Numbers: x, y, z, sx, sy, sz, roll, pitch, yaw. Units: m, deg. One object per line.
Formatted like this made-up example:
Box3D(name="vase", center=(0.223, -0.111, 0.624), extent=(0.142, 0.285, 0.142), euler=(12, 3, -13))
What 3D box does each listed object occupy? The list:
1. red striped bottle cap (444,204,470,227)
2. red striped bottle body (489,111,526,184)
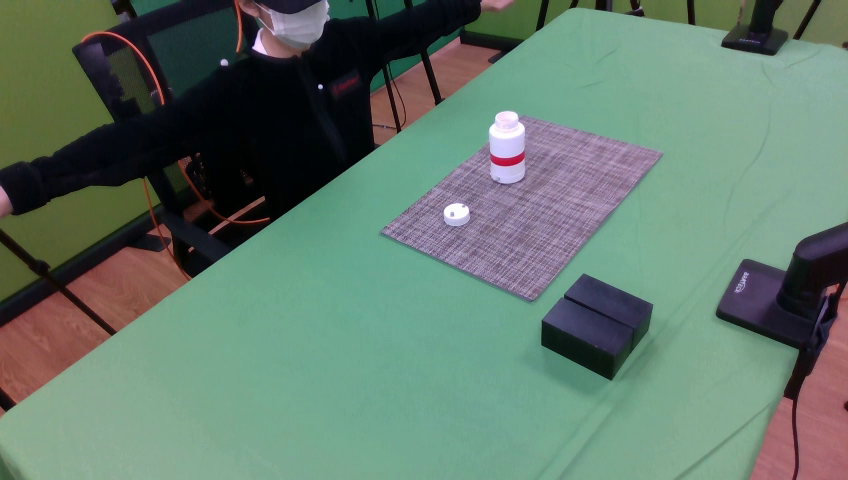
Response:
Box3D(name="red striped bottle cap", center=(0.055, -0.042, 1.016), extent=(0.044, 0.018, 0.044), euler=(-2, 42, 2))
Box3D(name="red striped bottle body", center=(0.147, -0.164, 1.064), extent=(0.063, 0.120, 0.062), euler=(-5, 39, 4))
